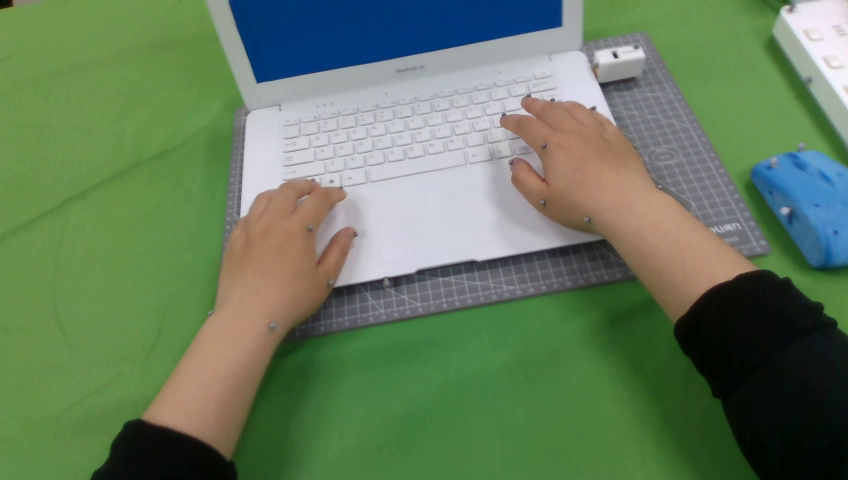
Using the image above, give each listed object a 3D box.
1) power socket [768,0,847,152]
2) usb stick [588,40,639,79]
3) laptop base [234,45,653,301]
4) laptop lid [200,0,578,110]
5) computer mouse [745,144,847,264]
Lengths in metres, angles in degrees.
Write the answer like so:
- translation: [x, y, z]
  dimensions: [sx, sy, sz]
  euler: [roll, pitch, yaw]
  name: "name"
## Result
- translation: [0.390, -0.153, 0.554]
  dimensions: [0.072, 0.033, 0.224]
  euler: [-7, 54, 4]
  name: "power socket"
- translation: [0.179, -0.176, 0.597]
  dimensions: [0.059, 0.027, 0.021]
  euler: [-11, 54, 5]
  name: "usb stick"
- translation: [0.001, -0.071, 0.564]
  dimensions: [0.354, 0.023, 0.233]
  euler: [-11, 57, 1]
  name: "laptop base"
- translation: [-0.033, -0.252, 0.556]
  dimensions: [0.357, 0.244, 0.013]
  euler: [-12, 41, 2]
  name: "laptop lid"
- translation: [0.310, -0.035, 0.479]
  dimensions: [0.063, 0.041, 0.116]
  euler: [-14, 49, 2]
  name: "computer mouse"
